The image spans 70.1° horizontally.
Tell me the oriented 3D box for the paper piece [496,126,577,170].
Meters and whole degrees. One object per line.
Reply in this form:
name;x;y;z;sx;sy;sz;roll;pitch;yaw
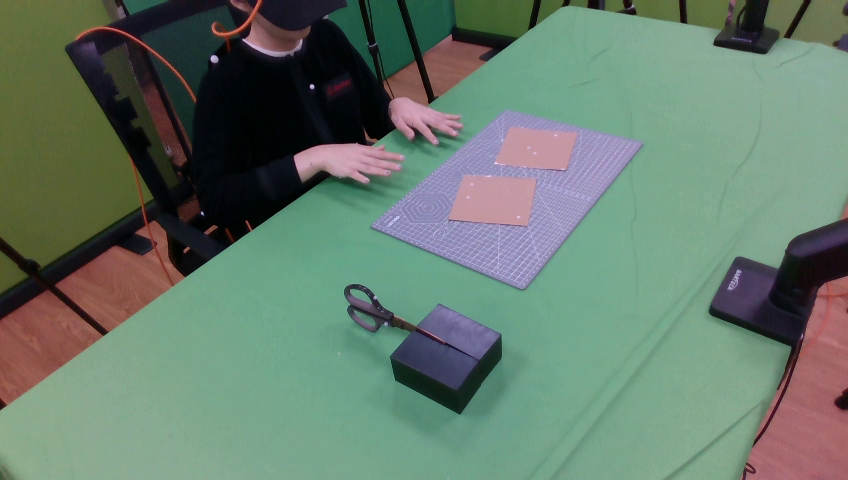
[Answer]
paper piece;0.218;-0.178;1.159;0.135;0.004;0.135;9;43;18

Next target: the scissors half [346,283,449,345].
scissors half;-0.038;0.099;0.803;0.174;0.040;0.013;26;37;28

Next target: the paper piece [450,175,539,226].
paper piece;0.125;-0.073;1.051;0.135;0.009;0.138;3;42;18

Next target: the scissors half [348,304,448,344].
scissors half;-0.037;0.117;0.813;0.174;0.040;0.013;9;33;39
